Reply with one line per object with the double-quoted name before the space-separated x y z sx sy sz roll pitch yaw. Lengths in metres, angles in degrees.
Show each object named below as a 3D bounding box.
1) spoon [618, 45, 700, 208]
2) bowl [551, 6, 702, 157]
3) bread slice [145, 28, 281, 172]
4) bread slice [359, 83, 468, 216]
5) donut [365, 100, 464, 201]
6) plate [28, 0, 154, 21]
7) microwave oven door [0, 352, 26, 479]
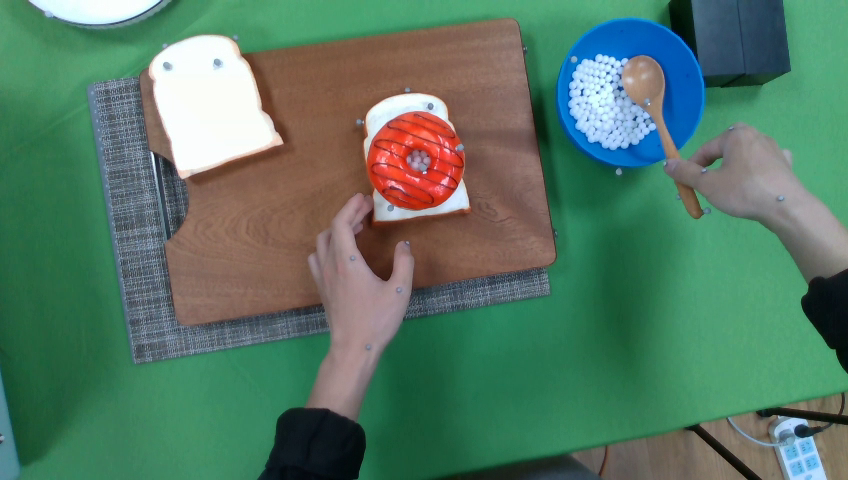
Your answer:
"spoon" 0.232 -0.116 0.597 0.041 0.022 0.192 -17 60 17
"bowl" 0.201 -0.157 0.638 0.151 0.077 0.151 0 90 -3
"bread slice" -0.221 -0.145 0.613 0.107 0.018 0.134 -24 90 -4
"bread slice" -0.016 -0.095 0.627 0.105 0.019 0.131 -10 92 -5
"donut" -0.010 -0.088 0.597 0.099 0.048 0.099 0 90 -4
"plate" -0.344 -0.327 0.628 0.208 0.039 0.207 0 90 -3
"microwave oven door" -0.453 0.063 0.498 0.039 0.243 0.355 -13 90 -3
